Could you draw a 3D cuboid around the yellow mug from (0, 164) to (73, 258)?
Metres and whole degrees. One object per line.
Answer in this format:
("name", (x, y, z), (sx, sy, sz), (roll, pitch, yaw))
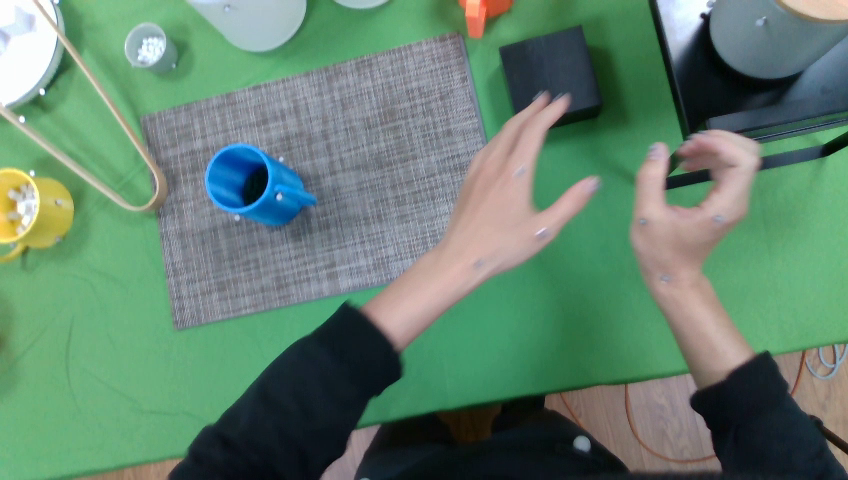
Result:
("yellow mug", (-0.549, -0.034, 0.817), (0.099, 0.064, 0.131), (26, 90, 9))

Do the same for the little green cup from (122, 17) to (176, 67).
("little green cup", (-0.373, -0.267, 0.826), (0.061, 0.039, 0.061), (-1, 86, 8))

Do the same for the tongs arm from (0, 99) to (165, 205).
("tongs arm", (-0.516, -0.164, 0.818), (0.384, 0.026, 0.051), (39, 87, 2))

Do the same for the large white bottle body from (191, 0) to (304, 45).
("large white bottle body", (-0.236, -0.335, 0.739), (0.130, 0.185, 0.130), (-1, 84, 8))

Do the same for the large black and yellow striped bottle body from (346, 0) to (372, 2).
("large black and yellow striped bottle body", (-0.094, -0.387, 0.724), (0.130, 0.184, 0.130), (-1, 84, 9))

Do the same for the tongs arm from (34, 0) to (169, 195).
("tongs arm", (-0.457, -0.224, 0.818), (0.028, 0.028, 0.387), (-36, 88, -5))

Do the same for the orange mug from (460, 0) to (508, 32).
("orange mug", (0.069, -0.327, 0.739), (0.083, 0.101, 0.126), (11, 82, 10))

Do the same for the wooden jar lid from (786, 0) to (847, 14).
("wooden jar lid", (0.293, -0.212, 0.437), (0.108, 0.021, 0.108), (-1, 84, 8))

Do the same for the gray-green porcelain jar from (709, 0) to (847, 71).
("gray-green porcelain jar", (0.303, -0.206, 0.499), (0.106, 0.127, 0.105), (-1, 85, 9))

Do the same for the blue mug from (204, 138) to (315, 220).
("blue mug", (-0.192, -0.069, 0.745), (0.116, 0.106, 0.082), (13, 86, 9))

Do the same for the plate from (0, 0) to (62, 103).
("plate", (-0.605, -0.291, 0.862), (0.207, 0.039, 0.207), (-1, 85, 8))
